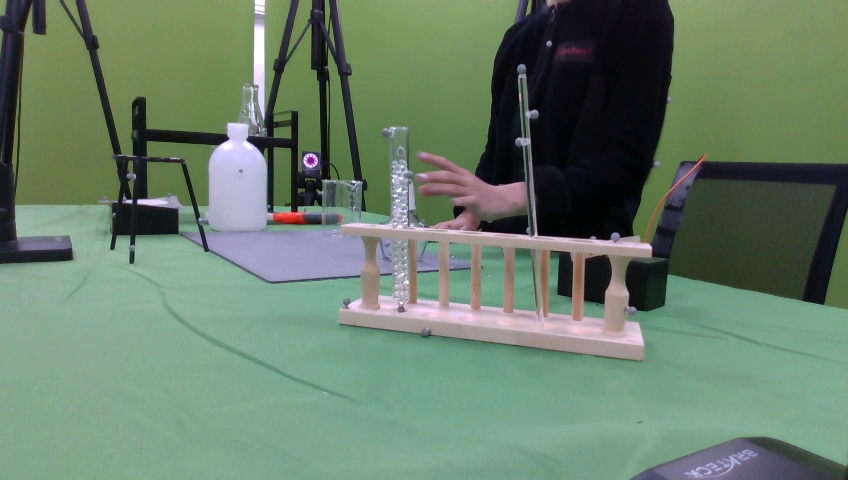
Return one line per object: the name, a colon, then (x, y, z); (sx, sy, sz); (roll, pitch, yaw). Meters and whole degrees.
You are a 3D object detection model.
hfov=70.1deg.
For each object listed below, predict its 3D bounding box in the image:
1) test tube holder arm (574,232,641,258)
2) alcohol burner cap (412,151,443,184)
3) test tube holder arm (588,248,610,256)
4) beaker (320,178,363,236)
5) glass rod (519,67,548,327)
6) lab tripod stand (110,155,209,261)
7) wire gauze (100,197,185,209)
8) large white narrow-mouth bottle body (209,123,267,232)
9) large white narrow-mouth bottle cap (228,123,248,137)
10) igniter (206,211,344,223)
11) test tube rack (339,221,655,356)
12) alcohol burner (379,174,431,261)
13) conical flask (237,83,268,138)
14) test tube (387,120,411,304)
test tube holder arm: (0.202, 0.003, 0.651); (0.013, 0.015, 0.179); (-3, 3, 36)
alcohol burner cap: (0.001, -0.095, 0.805); (0.033, 0.034, 0.048); (6, 38, 26)
test tube holder arm: (0.180, 0.006, 0.611); (0.010, 0.015, 0.088); (-3, 3, 36)
beaker: (-0.145, -0.059, 1.079); (0.074, 0.100, 0.083); (-4, 10, -36)
glass rod: (0.084, -0.029, 0.459); (0.008, 0.199, 0.008); (-7, 11, 2)
lab tripod stand: (-0.361, -0.046, 0.806); (0.148, 0.131, 0.148); (2, 5, 0)
wire gauze: (-0.469, -0.062, 1.008); (0.126, 0.011, 0.121); (-2, 8, -25)
large white narrow-mouth bottle body: (-0.340, -0.115, 1.109); (0.102, 0.194, 0.102); (2, 8, 0)
large white narrow-mouth bottle cap: (-0.338, -0.199, 1.097); (0.038, 0.024, 0.037); (2, 8, 0)
igniter: (-0.302, -0.048, 1.250); (0.278, 0.025, 0.057); (-2, -2, -26)
test tube rack: (0.056, 0.032, 0.495); (0.242, 0.085, 0.067); (4, 7, 15)
alcohol burner: (-0.027, -0.031, 0.838); (0.078, 0.119, 0.078); (0, 6, 0)
conical flask: (-0.402, -0.299, 1.406); (0.075, 0.122, 0.075); (2, 7, 0)
test tube: (-0.019, -0.020, 0.488); (0.017, 0.150, 0.017); (-1, 13, 1)
